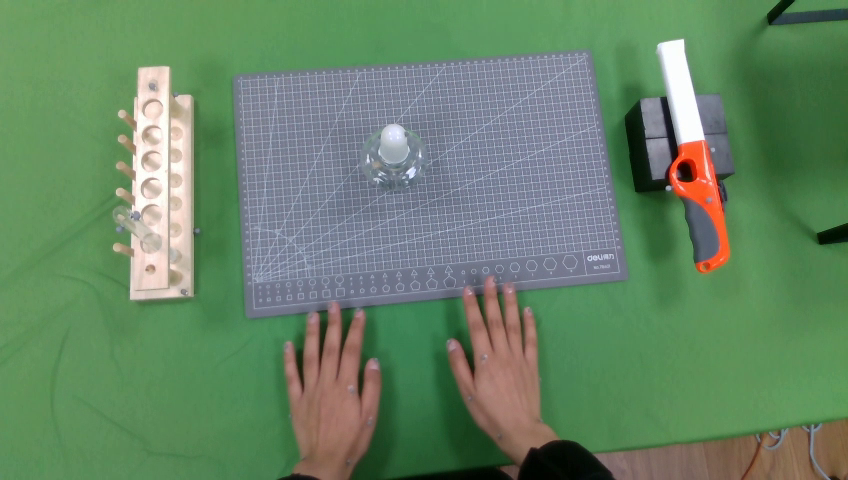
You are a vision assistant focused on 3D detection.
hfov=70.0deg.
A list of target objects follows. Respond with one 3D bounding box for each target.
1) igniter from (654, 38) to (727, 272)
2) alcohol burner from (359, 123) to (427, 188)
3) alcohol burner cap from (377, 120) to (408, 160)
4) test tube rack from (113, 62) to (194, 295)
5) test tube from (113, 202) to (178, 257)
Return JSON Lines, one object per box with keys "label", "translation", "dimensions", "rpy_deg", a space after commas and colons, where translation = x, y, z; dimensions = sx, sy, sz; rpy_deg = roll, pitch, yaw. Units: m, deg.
{"label": "igniter", "translation": [0.305, -0.101, 0.697], "dimensions": [0.057, 0.025, 0.275], "rpy_deg": [-8, 79, 7]}
{"label": "alcohol burner", "translation": [-0.035, -0.101, 0.677], "dimensions": [0.078, 0.119, 0.077], "rpy_deg": [0, 80, -2]}
{"label": "alcohol burner cap", "translation": [-0.033, -0.109, 0.642], "dimensions": [0.034, 0.048, 0.033], "rpy_deg": [1, 73, -4]}
{"label": "test tube rack", "translation": [-0.302, -0.065, 0.670], "dimensions": [0.067, 0.085, 0.241], "rpy_deg": [-3, 80, -4]}
{"label": "test tube", "translation": [-0.277, -0.007, 0.611], "dimensions": [0.017, 0.151, 0.017], "rpy_deg": [2, 74, -5]}
